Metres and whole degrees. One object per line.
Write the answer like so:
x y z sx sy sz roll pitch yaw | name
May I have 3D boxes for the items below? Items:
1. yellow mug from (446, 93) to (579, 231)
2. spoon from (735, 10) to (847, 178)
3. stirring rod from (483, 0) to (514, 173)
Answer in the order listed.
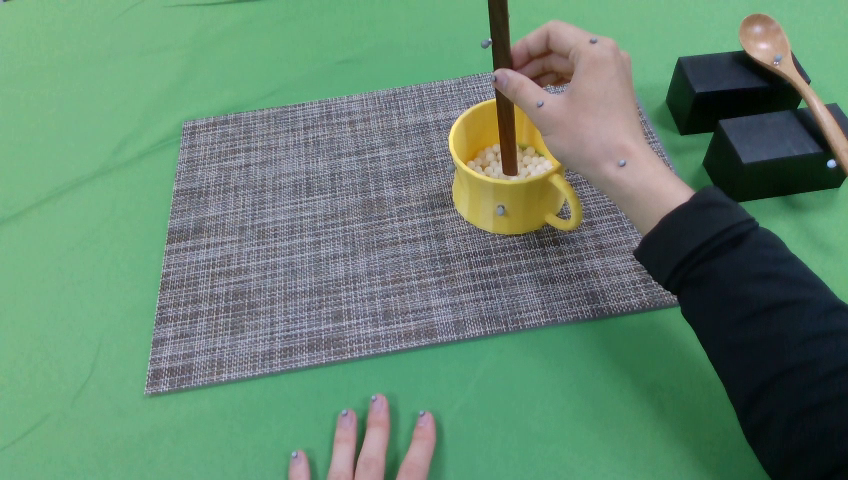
0.079 -0.057 0.500 0.100 0.064 0.129 -35 59 -19 | yellow mug
0.308 -0.122 0.496 0.041 0.022 0.191 -9 56 -2 | spoon
0.058 -0.117 0.462 0.014 0.178 0.006 10 53 20 | stirring rod
